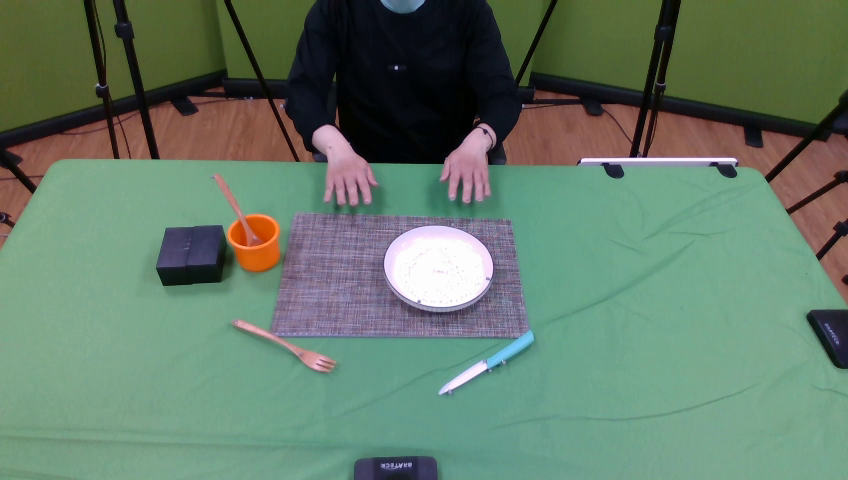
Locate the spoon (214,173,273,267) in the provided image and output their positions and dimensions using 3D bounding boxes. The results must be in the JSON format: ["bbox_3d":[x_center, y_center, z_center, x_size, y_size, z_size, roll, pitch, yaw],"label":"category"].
[{"bbox_3d":[-0.336,-0.037,1.121,0.041,0.194,0.021,-29,10,-25],"label":"spoon"}]

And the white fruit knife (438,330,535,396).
[{"bbox_3d":[0.108,0.206,1.009,0.207,0.016,0.027,-27,30,-22],"label":"white fruit knife"}]

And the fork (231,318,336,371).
[{"bbox_3d":[-0.239,0.173,1.014,0.207,0.019,0.028,23,54,15],"label":"fork"}]

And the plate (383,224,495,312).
[{"bbox_3d":[0.026,0.055,1.128,0.209,0.038,0.208,2,46,-2],"label":"plate"}]
